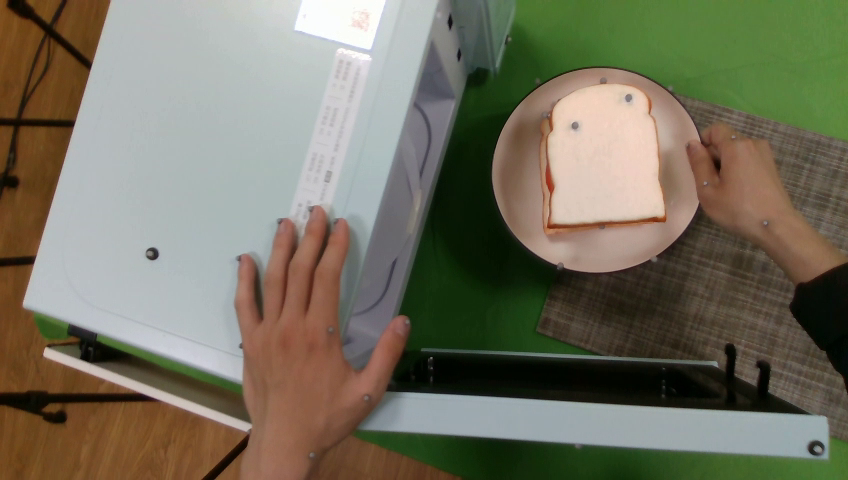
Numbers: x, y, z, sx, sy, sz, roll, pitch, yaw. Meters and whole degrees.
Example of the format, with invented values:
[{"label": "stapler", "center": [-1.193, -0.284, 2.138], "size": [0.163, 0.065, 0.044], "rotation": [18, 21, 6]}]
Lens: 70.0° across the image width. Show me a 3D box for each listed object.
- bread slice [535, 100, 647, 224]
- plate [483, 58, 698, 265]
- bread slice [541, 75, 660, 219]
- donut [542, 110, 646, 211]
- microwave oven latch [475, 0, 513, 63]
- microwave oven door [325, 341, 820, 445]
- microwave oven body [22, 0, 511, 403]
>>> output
[{"label": "bread slice", "center": [0.162, -0.084, 0.616], "size": [0.107, 0.018, 0.134], "rotation": [-8, 87, 5]}, {"label": "plate", "center": [0.165, -0.077, 0.616], "size": [0.207, 0.039, 0.207], "rotation": [0, 89, 7]}, {"label": "bread slice", "center": [0.158, -0.086, 0.559], "size": [0.104, 0.019, 0.131], "rotation": [-4, 87, 12]}, {"label": "donut", "center": [0.163, -0.076, 0.588], "size": [0.099, 0.048, 0.099], "rotation": [0, 89, 7]}, {"label": "microwave oven latch", "center": [0.077, -0.240, 0.669], "size": [0.030, 0.029, 0.079], "rotation": [17, 92, 8]}, {"label": "microwave oven door", "center": [0.116, 0.129, 0.553], "size": [0.355, 0.244, 0.039], "rotation": [0, 87, 9]}, {"label": "microwave oven body", "center": [-0.129, -0.117, 0.599], "size": [0.325, 0.260, 0.441], "rotation": [17, 92, 8]}]
